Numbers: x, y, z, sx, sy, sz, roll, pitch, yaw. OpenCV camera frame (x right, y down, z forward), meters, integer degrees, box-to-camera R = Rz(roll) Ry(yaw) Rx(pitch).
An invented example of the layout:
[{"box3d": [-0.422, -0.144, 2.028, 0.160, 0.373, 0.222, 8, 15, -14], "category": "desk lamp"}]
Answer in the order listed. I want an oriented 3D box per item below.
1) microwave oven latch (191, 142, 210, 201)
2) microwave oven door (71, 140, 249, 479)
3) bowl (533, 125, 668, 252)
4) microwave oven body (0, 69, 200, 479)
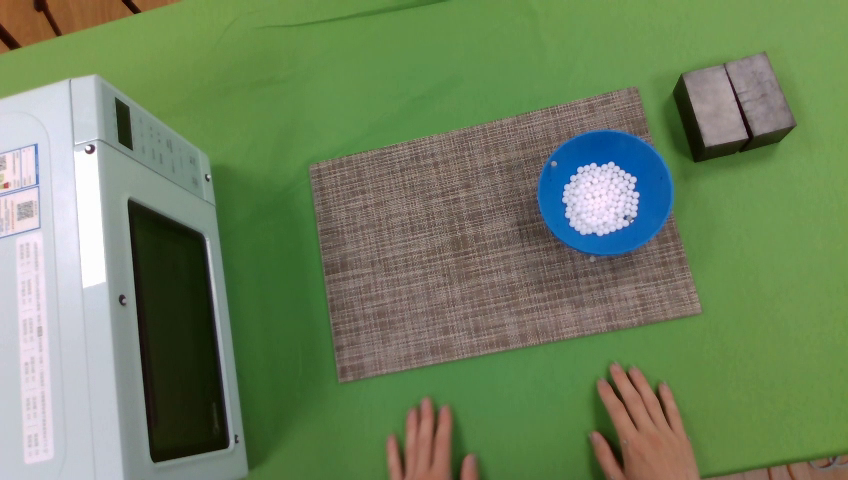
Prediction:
[{"box3d": [-0.313, -0.090, 0.821, 0.030, 0.029, 0.078, -14, 77, 5], "category": "microwave oven latch"}, {"box3d": [-0.286, 0.095, 0.672, 0.039, 0.245, 0.353, -14, 76, 6], "category": "microwave oven door"}, {"box3d": [0.206, -0.052, 0.726, 0.151, 0.077, 0.150, -2, 78, 9], "category": "bowl"}, {"box3d": [-0.435, 0.091, 0.701, 0.326, 0.261, 0.439, -14, 77, 5], "category": "microwave oven body"}]
